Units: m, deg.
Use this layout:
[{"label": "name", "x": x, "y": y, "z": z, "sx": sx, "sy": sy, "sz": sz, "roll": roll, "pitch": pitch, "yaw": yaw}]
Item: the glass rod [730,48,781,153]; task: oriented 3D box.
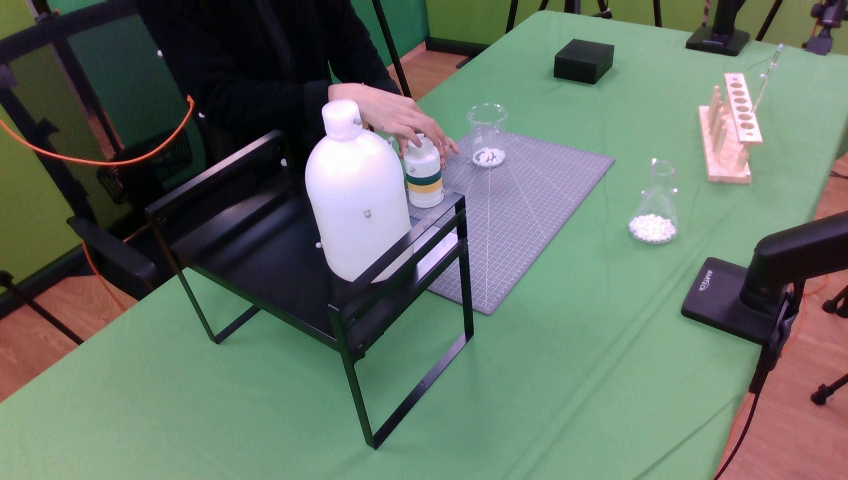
[{"label": "glass rod", "x": 0.554, "y": -0.228, "z": 1.015, "sx": 0.008, "sy": 0.200, "sz": 0.008, "roll": 1, "pitch": 44, "yaw": -1}]

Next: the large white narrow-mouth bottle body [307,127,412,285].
[{"label": "large white narrow-mouth bottle body", "x": -0.070, "y": -0.051, "z": 0.638, "sx": 0.102, "sy": 0.195, "sz": 0.101, "roll": -3, "pitch": 40, "yaw": 3}]

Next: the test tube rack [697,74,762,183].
[{"label": "test tube rack", "x": 0.547, "y": -0.208, "z": 1.095, "sx": 0.066, "sy": 0.085, "sz": 0.242, "roll": 5, "pitch": 42, "yaw": 15}]

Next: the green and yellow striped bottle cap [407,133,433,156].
[{"label": "green and yellow striped bottle cap", "x": -0.007, "y": -0.160, "z": 1.005, "sx": 0.045, "sy": 0.020, "sz": 0.045, "roll": -2, "pitch": 40, "yaw": 2}]

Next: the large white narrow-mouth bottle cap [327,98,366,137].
[{"label": "large white narrow-mouth bottle cap", "x": -0.075, "y": -0.118, "z": 0.581, "sx": 0.038, "sy": 0.024, "sz": 0.037, "roll": -3, "pitch": 40, "yaw": 3}]

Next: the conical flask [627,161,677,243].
[{"label": "conical flask", "x": 0.355, "y": -0.061, "z": 0.921, "sx": 0.075, "sy": 0.122, "sz": 0.075, "roll": -4, "pitch": 41, "yaw": 4}]

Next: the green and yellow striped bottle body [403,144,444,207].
[{"label": "green and yellow striped bottle body", "x": -0.001, "y": -0.121, "z": 1.038, "sx": 0.063, "sy": 0.120, "sz": 0.063, "roll": -4, "pitch": 40, "yaw": 4}]

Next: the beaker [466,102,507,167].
[{"label": "beaker", "x": 0.121, "y": -0.195, "z": 1.124, "sx": 0.084, "sy": 0.101, "sz": 0.073, "roll": -34, "pitch": 48, "yaw": -28}]
